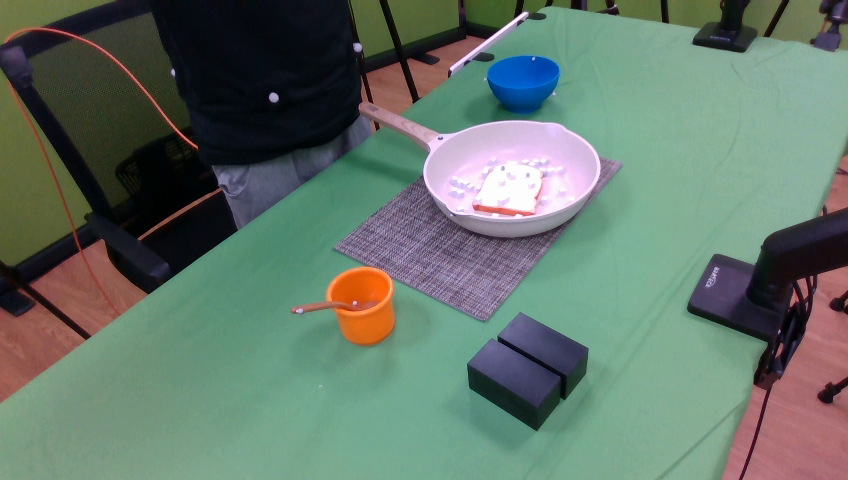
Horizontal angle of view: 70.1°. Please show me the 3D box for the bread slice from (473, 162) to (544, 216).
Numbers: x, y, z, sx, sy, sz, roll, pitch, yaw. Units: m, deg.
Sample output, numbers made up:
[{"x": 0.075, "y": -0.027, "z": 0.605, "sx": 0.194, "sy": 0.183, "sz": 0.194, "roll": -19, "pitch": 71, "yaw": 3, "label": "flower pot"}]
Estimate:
[{"x": 0.150, "y": -0.088, "z": 1.041, "sx": 0.106, "sy": 0.018, "sz": 0.134, "roll": 7, "pitch": 44, "yaw": 16, "label": "bread slice"}]

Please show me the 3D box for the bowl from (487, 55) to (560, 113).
[{"x": 0.207, "y": -0.319, "z": 1.266, "sx": 0.151, "sy": 0.077, "sz": 0.150, "roll": -4, "pitch": 41, "yaw": 4, "label": "bowl"}]

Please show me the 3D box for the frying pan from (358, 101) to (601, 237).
[{"x": 0.067, "y": -0.153, "z": 1.067, "sx": 0.484, "sy": 0.103, "sz": 0.308, "roll": 32, "pitch": 52, "yaw": 26, "label": "frying pan"}]

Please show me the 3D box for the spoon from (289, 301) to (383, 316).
[{"x": -0.112, "y": 0.087, "z": 0.785, "sx": 0.041, "sy": 0.195, "sz": 0.021, "roll": 14, "pitch": 89, "yaw": 27, "label": "spoon"}]
